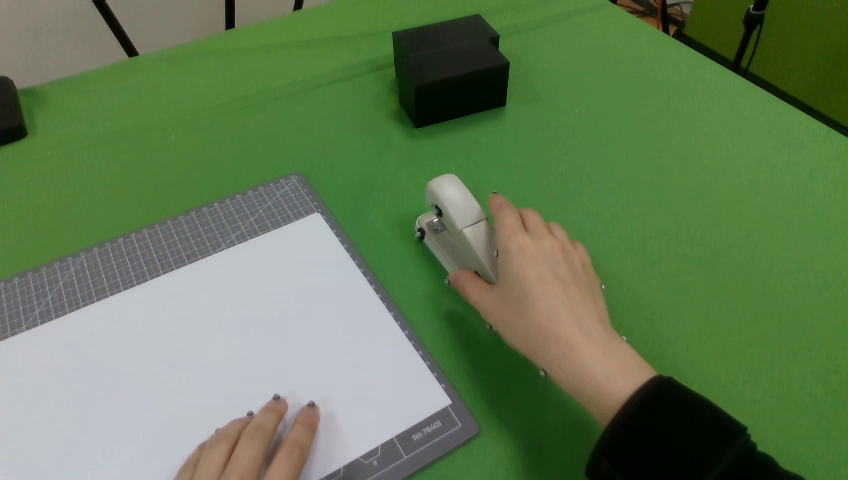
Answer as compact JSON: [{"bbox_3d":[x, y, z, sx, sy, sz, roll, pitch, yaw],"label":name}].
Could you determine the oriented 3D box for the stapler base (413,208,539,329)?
[{"bbox_3d":[0.036,0.010,0.472,0.041,0.024,0.129,-26,54,-18],"label":"stapler base"}]

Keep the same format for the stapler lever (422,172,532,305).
[{"bbox_3d":[0.037,-0.006,0.452,0.027,0.040,0.117,-26,54,-18],"label":"stapler lever"}]
